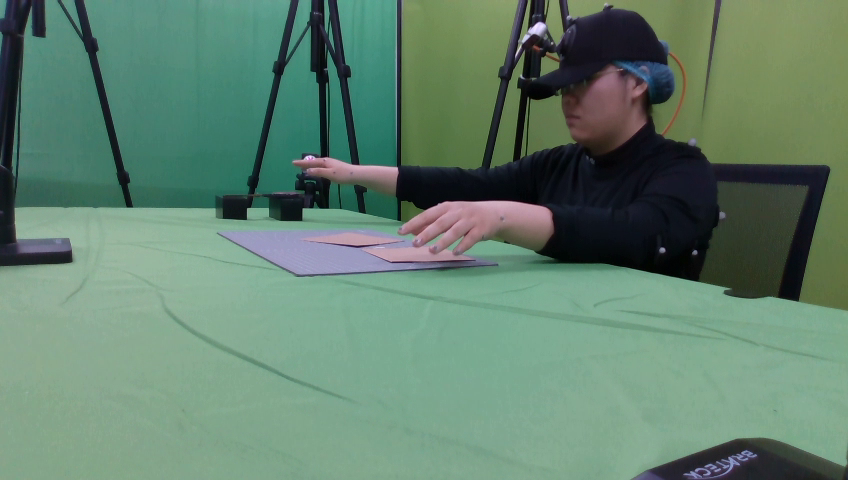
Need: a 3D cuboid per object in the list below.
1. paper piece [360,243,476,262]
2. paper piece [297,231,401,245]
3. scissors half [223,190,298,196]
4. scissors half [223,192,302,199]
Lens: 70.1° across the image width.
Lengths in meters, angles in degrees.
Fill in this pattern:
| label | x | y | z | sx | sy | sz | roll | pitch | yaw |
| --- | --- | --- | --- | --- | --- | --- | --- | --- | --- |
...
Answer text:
| label | x | y | z | sx | sy | sz | roll | pitch | yaw |
| --- | --- | --- | --- | --- | --- | --- | --- | --- | --- |
| paper piece | -0.013 | 0.020 | 0.914 | 0.136 | 0.008 | 0.137 | -4 | 9 | -24 |
| paper piece | -0.128 | -0.003 | 1.052 | 0.135 | 0.004 | 0.136 | 7 | 8 | 33 |
| scissors half | -0.372 | -0.105 | 1.380 | 0.176 | 0.013 | 0.040 | -6 | 20 | -38 |
| scissors half | -0.362 | -0.100 | 1.364 | 0.176 | 0.013 | 0.040 | -2 | 12 | -23 |
